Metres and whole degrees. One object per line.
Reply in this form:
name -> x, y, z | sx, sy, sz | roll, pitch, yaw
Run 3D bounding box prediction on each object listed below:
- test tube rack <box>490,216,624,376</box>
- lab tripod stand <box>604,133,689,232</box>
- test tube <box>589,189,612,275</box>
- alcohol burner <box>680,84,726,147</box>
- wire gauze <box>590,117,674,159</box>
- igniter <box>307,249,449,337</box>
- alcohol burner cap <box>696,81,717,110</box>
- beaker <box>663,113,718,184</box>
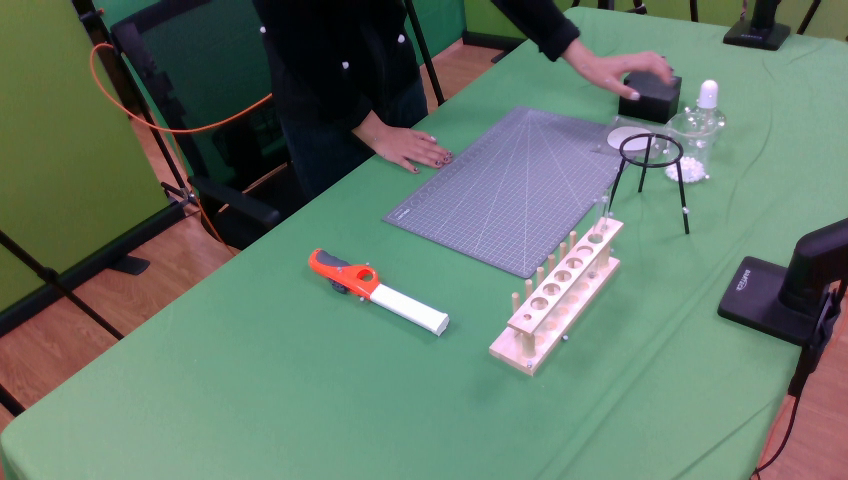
test tube rack -> 0.184, 0.064, 0.822 | 0.066, 0.085, 0.243 | 24, 50, 33
lab tripod stand -> 0.347, -0.086, 0.932 | 0.148, 0.132, 0.147 | -4, 40, 4
test tube -> 0.238, -0.007, 0.818 | 0.017, 0.151, 0.017 | -3, 43, 4
alcohol burner -> 0.503, -0.228, 1.085 | 0.078, 0.119, 0.077 | -4, 42, 4
wire gauze -> 0.393, -0.192, 1.139 | 0.120, 0.011, 0.125 | 19, 47, 28
igniter -> -0.079, 0.073, 0.905 | 0.274, 0.025, 0.057 | 23, 61, 32
alcohol burner cap -> 0.498, -0.256, 1.062 | 0.034, 0.048, 0.033 | -6, 34, 4
beaker -> 0.442, -0.151, 1.018 | 0.084, 0.101, 0.074 | -1, 40, 11
